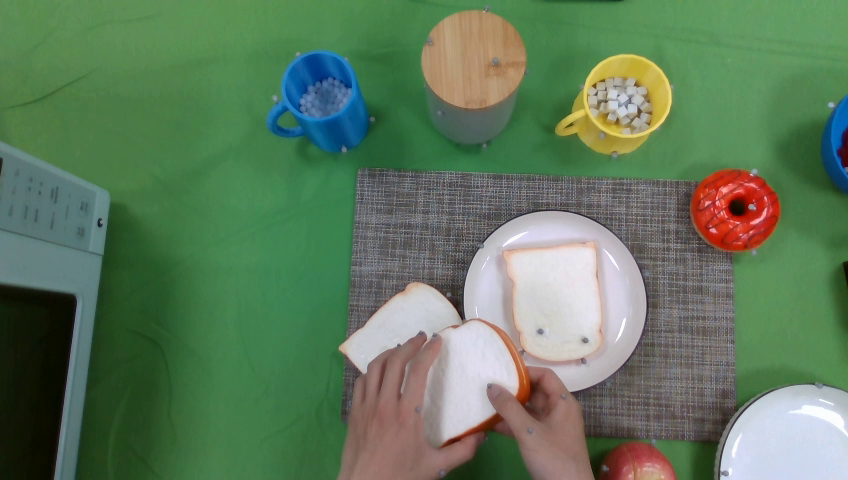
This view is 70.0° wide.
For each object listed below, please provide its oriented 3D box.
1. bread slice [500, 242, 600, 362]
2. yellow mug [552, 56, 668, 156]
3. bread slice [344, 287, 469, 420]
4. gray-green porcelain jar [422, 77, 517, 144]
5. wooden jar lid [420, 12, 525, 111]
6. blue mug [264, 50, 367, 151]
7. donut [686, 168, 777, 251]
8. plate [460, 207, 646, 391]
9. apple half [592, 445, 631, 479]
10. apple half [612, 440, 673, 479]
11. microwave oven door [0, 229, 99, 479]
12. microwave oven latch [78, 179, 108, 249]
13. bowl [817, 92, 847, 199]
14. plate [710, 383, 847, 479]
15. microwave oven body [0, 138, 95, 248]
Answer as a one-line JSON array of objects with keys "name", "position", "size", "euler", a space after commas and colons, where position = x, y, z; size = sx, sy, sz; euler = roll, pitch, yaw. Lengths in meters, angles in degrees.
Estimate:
[{"name": "bread slice", "position": [0.150, 0.071, 0.695], "size": [0.107, 0.018, 0.133], "euler": [-8, 80, 1]}, {"name": "yellow mug", "position": [0.213, -0.151, 0.716], "size": [0.131, 0.064, 0.099], "euler": [-21, 81, -1]}, {"name": "bread slice", "position": [-0.010, 0.123, 0.690], "size": [0.105, 0.019, 0.131], "euler": [37, 82, -2]}, {"name": "gray-green porcelain jar", "position": [0.052, -0.174, 0.693], "size": [0.106, 0.127, 0.105], "euler": [0, 81, 2]}, {"name": "wooden jar lid", "position": [0.050, -0.184, 0.632], "size": [0.108, 0.021, 0.108], "euler": [0, 79, 2]}, {"name": "blue mug", "position": [-0.129, -0.152, 0.705], "size": [0.116, 0.106, 0.082], "euler": [-23, 81, -2]}, {"name": "donut", "position": [0.354, -0.035, 0.701], "size": [0.099, 0.048, 0.098], "euler": [0, 82, 2]}, {"name": "plate", "position": [0.144, 0.067, 0.695], "size": [0.207, 0.039, 0.207], "euler": [0, 82, 2]}, {"name": "apple half", "position": [0.196, 0.261, 0.648], "size": [0.033, 0.081, 0.081], "euler": [-4, 80, -4]}, {"name": "apple half", "position": [0.236, 0.255, 0.650], "size": [0.053, 0.075, 0.080], "euler": [-6, 79, -3]}, {"name": "microwave oven door", "position": [-0.413, 0.169, 0.577], "size": [0.039, 0.244, 0.354], "euler": [3, 81, 2]}, {"name": "microwave oven latch", "position": [-0.394, -0.031, 0.710], "size": [0.030, 0.029, 0.079], "euler": [7, 82, 2]}, {"name": "bowl", "position": [0.515, -0.100, 0.692], "size": [0.151, 0.077, 0.151], "euler": [0, 82, 2]}, {"name": "plate", "position": [0.414, 0.260, 0.660], "size": [0.209, 0.038, 0.208], "euler": [0, 81, 2]}, {"name": "microwave oven body", "position": [-0.555, 0.121, 0.594], "size": [0.326, 0.261, 0.440], "euler": [3, 82, 2]}]
